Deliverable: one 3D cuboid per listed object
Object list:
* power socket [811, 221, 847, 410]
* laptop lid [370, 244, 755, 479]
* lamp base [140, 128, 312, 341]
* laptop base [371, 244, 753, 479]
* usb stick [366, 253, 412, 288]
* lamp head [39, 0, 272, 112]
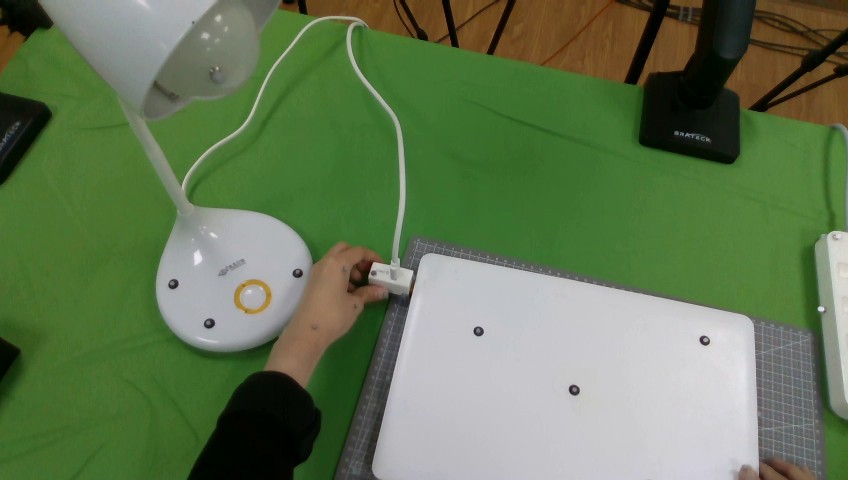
[{"bbox_3d":[0.459,0.078,0.640,0.072,0.033,0.225,13,62,3],"label":"power socket"},{"bbox_3d":[0.143,0.138,0.589,0.356,0.013,0.240,12,65,4],"label":"laptop lid"},{"bbox_3d":[-0.207,-0.013,0.575,0.178,0.181,0.160,38,67,20],"label":"lamp base"},{"bbox_3d":[0.144,0.141,0.601,0.354,0.023,0.234,11,66,3],"label":"laptop base"},{"bbox_3d":[-0.031,0.034,0.635,0.059,0.027,0.021,14,54,0],"label":"usb stick"},{"bbox_3d":[-0.148,-0.142,0.302,0.123,0.112,0.112,40,65,-8],"label":"lamp head"}]
